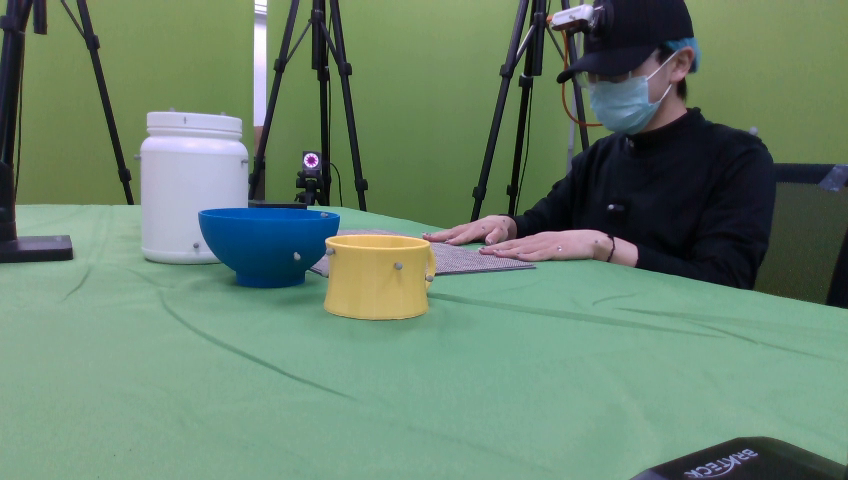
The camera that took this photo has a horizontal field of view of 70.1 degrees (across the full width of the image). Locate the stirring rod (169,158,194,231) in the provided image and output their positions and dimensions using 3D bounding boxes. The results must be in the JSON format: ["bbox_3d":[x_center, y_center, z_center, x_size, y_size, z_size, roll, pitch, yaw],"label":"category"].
[{"bbox_3d":[-0.424,-0.082,1.060,0.014,0.006,0.175,2,50,-10],"label":"stirring rod"}]

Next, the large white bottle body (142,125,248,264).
[{"bbox_3d":[-0.300,-0.068,0.797,0.131,0.184,0.130,2,7,0],"label":"large white bottle body"}]

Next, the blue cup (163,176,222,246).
[{"bbox_3d":[-0.356,-0.045,0.929,0.093,0.100,0.092,4,8,0],"label":"blue cup"}]

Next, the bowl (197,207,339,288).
[{"bbox_3d":[-0.171,0.008,0.671,0.151,0.077,0.151,2,7,0],"label":"bowl"}]

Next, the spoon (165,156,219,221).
[{"bbox_3d":[-0.451,-0.104,1.193,0.041,0.022,0.193,5,51,17],"label":"spoon"}]

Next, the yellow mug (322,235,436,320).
[{"bbox_3d":[-0.034,0.031,0.581,0.099,0.064,0.131,8,8,42],"label":"yellow mug"}]

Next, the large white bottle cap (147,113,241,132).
[{"bbox_3d":[-0.297,-0.151,0.786,0.115,0.018,0.115,2,7,0],"label":"large white bottle cap"}]
